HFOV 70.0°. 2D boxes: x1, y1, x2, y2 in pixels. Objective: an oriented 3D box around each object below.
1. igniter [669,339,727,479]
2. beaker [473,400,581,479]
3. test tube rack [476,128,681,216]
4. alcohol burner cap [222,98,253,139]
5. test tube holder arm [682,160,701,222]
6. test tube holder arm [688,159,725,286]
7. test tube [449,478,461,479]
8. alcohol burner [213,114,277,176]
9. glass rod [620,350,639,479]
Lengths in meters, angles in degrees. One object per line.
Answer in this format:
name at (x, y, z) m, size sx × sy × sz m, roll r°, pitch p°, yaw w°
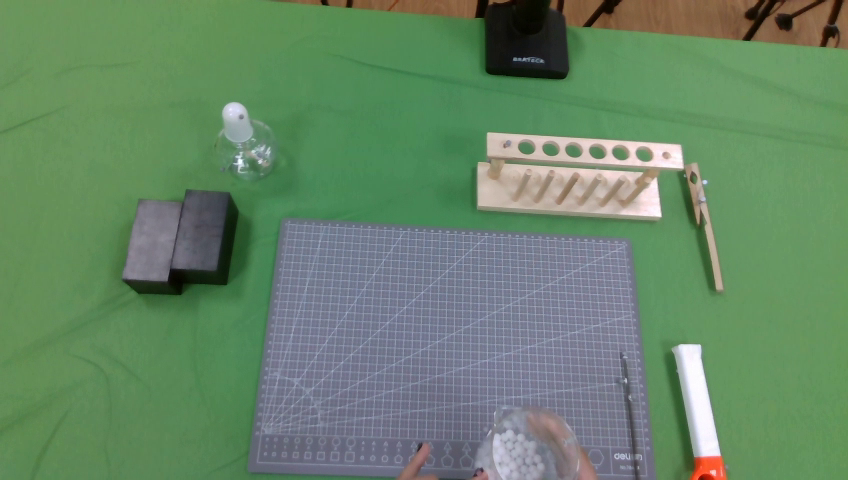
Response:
igniter at (0.318, 0.248, 0.684) m, size 0.057 × 0.025 × 0.274 m, roll 4°, pitch 68°, yaw -14°
beaker at (0.081, 0.185, 0.527) m, size 0.074 × 0.101 × 0.083 m, roll -34°, pitch 71°, yaw -20°
test tube rack at (0.192, -0.084, 0.772) m, size 0.243 × 0.085 × 0.066 m, roll 3°, pitch 68°, yaw -4°
alcohol burner cap at (-0.218, -0.144, 0.704) m, size 0.034 × 0.048 × 0.033 m, roll 5°, pitch 62°, yaw -8°
test tube holder arm at (0.363, -0.066, 0.818) m, size 0.010 × 0.015 × 0.087 m, roll -16°, pitch 67°, yaw 27°
test tube holder arm at (0.372, -0.026, 0.800) m, size 0.013 × 0.015 × 0.177 m, roll -16°, pitch 67°, yaw 27°
test tube at (0.034, 0.227, 0.482) m, size 0.017 × 0.152 × 0.017 m, roll -6°, pitch 45°, yaw 7°
alcohol burner at (-0.221, -0.129, 0.737) m, size 0.078 × 0.120 × 0.077 m, roll 1°, pitch 66°, yaw -3°
glass rod at (0.237, 0.224, 0.693) m, size 0.008 × 0.008 × 0.198 m, roll 3°, pitch 68°, yaw -4°
